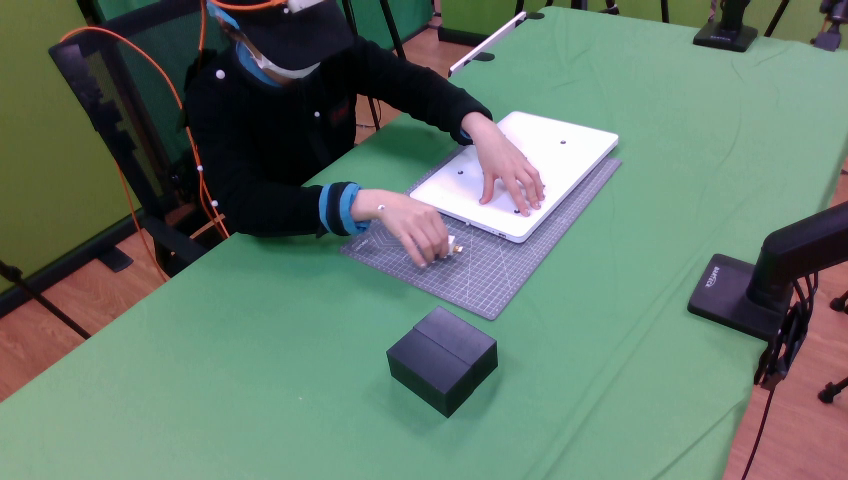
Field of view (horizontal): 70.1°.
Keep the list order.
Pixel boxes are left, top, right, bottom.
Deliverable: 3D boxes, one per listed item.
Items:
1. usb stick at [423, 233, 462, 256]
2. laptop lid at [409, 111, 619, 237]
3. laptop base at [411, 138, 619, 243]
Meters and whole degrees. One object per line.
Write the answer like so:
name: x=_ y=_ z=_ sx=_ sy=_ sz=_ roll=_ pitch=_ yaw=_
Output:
usb stick: x=0.030 y=0.008 z=0.932 sx=0.059 sy=0.027 sz=0.021 roll=13 pitch=42 yaw=15
laptop lid: x=0.167 y=-0.136 z=1.090 sx=0.239 sy=0.013 sz=0.358 roll=24 pitch=49 yaw=34
laptop base: x=0.171 y=-0.126 z=1.096 sx=0.233 sy=0.023 sz=0.355 roll=21 pitch=47 yaw=33
